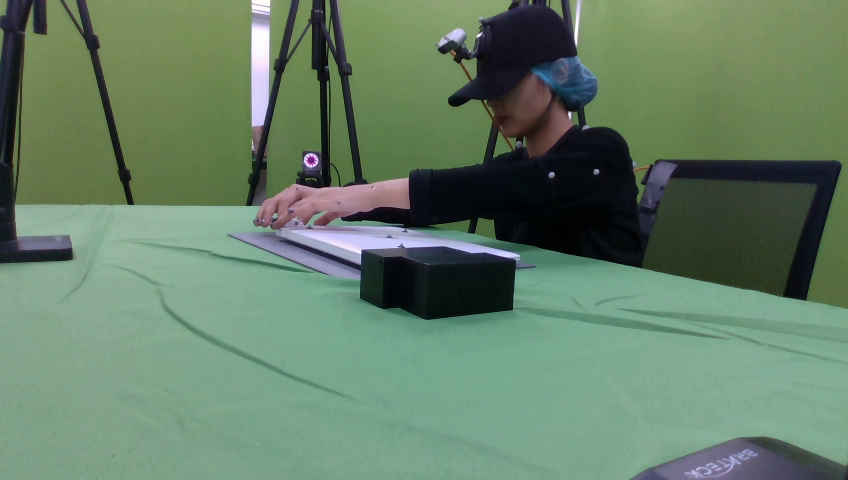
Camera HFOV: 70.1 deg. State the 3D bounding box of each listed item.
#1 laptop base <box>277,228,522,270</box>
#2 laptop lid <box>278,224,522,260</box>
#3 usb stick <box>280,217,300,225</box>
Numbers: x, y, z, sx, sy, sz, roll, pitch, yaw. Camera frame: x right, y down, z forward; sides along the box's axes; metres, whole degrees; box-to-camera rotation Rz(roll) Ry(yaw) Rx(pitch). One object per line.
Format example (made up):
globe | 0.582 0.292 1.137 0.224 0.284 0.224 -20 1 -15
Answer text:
laptop base | -0.054 0.011 0.910 0.237 0.023 0.352 1 7 -33
laptop lid | -0.052 -0.001 0.909 0.243 0.013 0.355 0 7 -32
usb stick | -0.225 -0.023 1.024 0.021 0.027 0.059 0 11 -32
